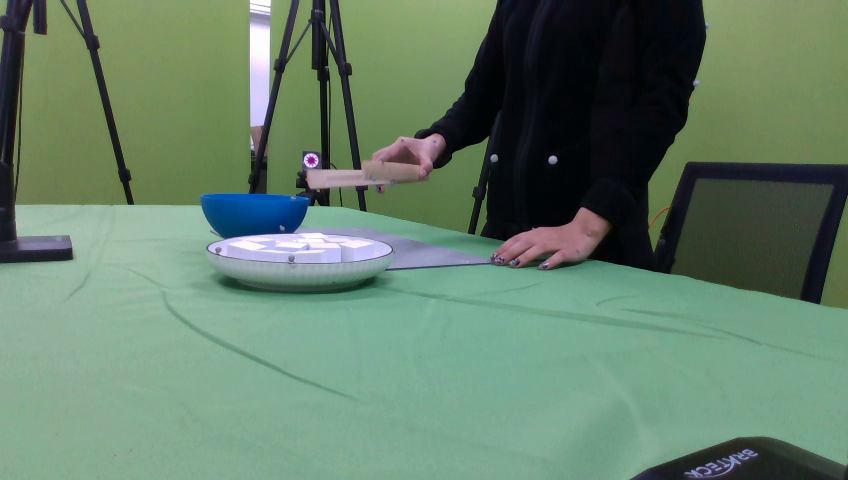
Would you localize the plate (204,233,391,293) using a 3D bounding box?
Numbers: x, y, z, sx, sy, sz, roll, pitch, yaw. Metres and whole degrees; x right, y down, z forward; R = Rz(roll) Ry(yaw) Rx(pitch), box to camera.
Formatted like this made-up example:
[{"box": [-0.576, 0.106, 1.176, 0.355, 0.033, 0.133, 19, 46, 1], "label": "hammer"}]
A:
[{"box": [-0.143, 0.025, 0.697, 0.208, 0.039, 0.207, 3, 9, 0], "label": "plate"}]

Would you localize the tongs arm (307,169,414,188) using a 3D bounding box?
[{"box": [-0.088, -0.100, 0.956, 0.028, 0.028, 0.388, -9, 4, 18], "label": "tongs arm"}]

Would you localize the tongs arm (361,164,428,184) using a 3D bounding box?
[{"box": [-0.047, -0.103, 0.945, 0.050, 0.026, 0.385, -5, 5, 16], "label": "tongs arm"}]

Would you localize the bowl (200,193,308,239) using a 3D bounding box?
[{"box": [-0.245, -0.025, 0.879, 0.151, 0.077, 0.151, 2, 8, 0], "label": "bowl"}]
